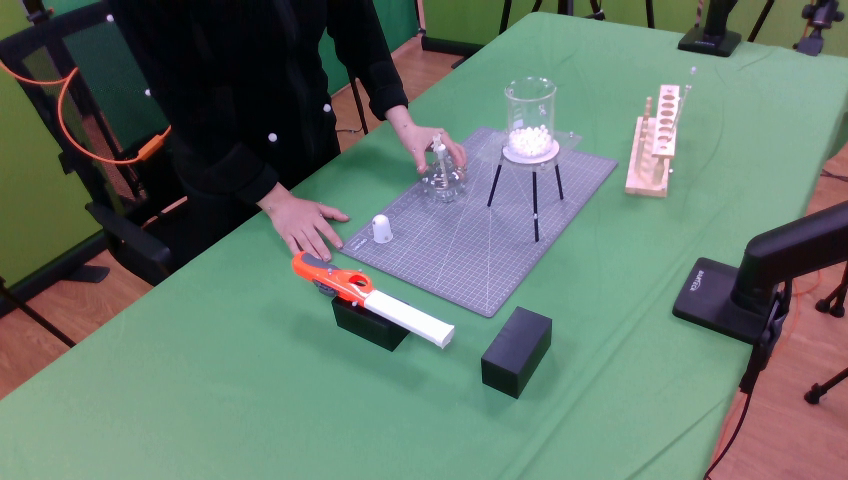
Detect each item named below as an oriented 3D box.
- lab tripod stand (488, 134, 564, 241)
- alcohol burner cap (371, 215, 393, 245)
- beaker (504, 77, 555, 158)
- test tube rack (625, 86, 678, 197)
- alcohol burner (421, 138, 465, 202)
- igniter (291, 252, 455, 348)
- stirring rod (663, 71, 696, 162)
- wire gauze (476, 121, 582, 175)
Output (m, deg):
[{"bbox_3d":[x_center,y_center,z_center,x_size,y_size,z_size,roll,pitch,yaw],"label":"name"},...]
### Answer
[{"bbox_3d":[0.168,-0.092,0.972,0.148,0.132,0.147,-5,41,5],"label":"lab tripod stand"},{"bbox_3d":[-0.070,-0.019,0.990,0.034,0.048,0.033,-4,40,4],"label":"alcohol burner cap"},{"bbox_3d":[0.160,-0.181,0.900,0.084,0.101,0.073,-32,46,-27],"label":"beaker"},{"bbox_3d":[0.412,-0.184,1.088,0.066,0.085,0.242,9,43,18],"label":"test tube rack"},{"bbox_3d":[0.031,-0.125,1.045,0.078,0.119,0.077,-5,42,5],"label":"alcohol burner"},{"bbox_3d":[-0.081,0.076,0.822,0.274,0.025,0.057,23,45,27],"label":"igniter"},{"bbox_3d":[0.410,-0.195,0.981,0.014,0.177,0.006,12,50,14],"label":"stirring rod"},{"bbox_3d":[0.162,-0.142,0.929,0.120,0.011,0.125,19,49,32],"label":"wire gauze"}]
